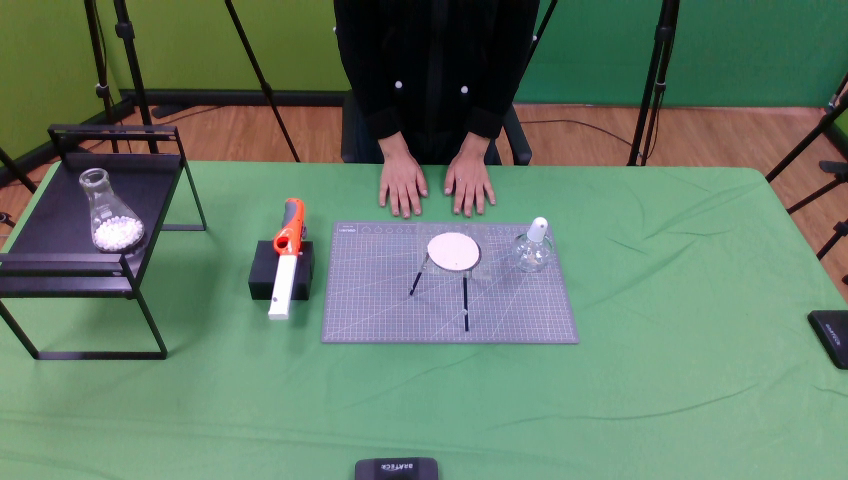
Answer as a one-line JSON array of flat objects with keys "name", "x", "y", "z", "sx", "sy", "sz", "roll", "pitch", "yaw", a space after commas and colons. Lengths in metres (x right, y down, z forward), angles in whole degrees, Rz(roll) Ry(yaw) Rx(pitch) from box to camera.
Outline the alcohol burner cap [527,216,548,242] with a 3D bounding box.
[{"name": "alcohol burner cap", "x": 0.212, "y": -0.023, "z": 1.119, "sx": 0.034, "sy": 0.048, "sz": 0.033, "roll": 8, "pitch": 46, "yaw": -8}]

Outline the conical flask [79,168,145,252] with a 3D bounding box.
[{"name": "conical flask", "x": -0.463, "y": -0.048, "z": 0.888, "sx": 0.075, "sy": 0.122, "sz": 0.075, "roll": 2, "pitch": 46, "yaw": -2}]

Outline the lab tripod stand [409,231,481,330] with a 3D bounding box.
[{"name": "lab tripod stand", "x": 0.051, "y": 0.064, "z": 1.060, "sx": 0.148, "sy": 0.132, "sz": 0.147, "roll": 3, "pitch": 46, "yaw": -3}]

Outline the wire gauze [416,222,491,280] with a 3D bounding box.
[{"name": "wire gauze", "x": 0.048, "y": 0.014, "z": 1.013, "sx": 0.125, "sy": 0.011, "sz": 0.120, "roll": 3, "pitch": 47, "yaw": -3}]

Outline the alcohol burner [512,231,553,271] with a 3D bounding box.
[{"name": "alcohol burner", "x": 0.208, "y": 0.002, "z": 1.144, "sx": 0.078, "sy": 0.119, "sz": 0.077, "roll": 3, "pitch": 44, "yaw": -3}]

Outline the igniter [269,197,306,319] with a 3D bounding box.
[{"name": "igniter", "x": -0.246, "y": 0.023, "z": 1.087, "sx": 0.057, "sy": 0.025, "sz": 0.274, "roll": -1, "pitch": 49, "yaw": -2}]
